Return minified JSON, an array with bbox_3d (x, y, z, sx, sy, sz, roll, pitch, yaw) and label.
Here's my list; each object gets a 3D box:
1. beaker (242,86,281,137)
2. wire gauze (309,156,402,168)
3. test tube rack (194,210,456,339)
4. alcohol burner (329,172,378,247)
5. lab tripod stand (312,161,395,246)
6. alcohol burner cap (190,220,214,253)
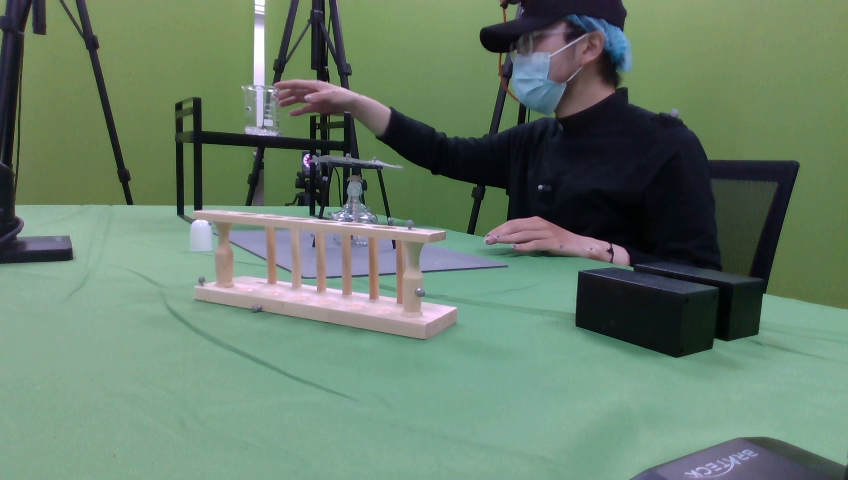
[{"bbox_3d":[-0.338,-0.265,1.253,0.073,0.100,0.084,8,9,38],"label":"beaker"},{"bbox_3d":[-0.111,-0.124,0.956,0.125,0.011,0.121,2,7,-22],"label":"wire gauze"},{"bbox_3d":[-0.093,0.023,0.545,0.241,0.085,0.067,6,8,25],"label":"test tube rack"},{"bbox_3d":[-0.113,-0.049,0.972,0.078,0.119,0.078,1,9,0],"label":"alcohol burner"},{"bbox_3d":[-0.110,-0.058,0.970,0.148,0.131,0.148,4,6,0],"label":"lab tripod stand"},{"bbox_3d":[-0.322,-0.006,0.875,0.034,0.048,0.034,3,8,0],"label":"alcohol burner cap"}]
